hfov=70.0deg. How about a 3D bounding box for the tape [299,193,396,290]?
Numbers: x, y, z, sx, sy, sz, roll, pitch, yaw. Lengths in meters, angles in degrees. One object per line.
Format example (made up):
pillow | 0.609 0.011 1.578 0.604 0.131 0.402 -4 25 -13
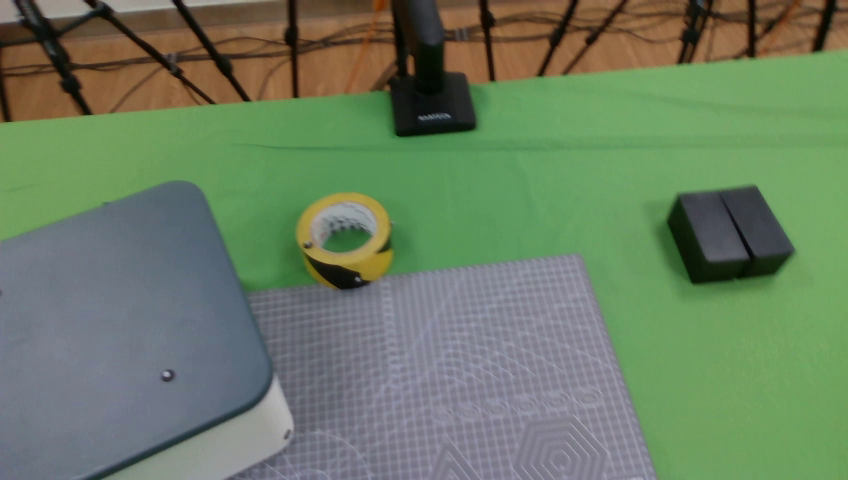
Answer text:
tape | -0.093 0.000 0.735 0.117 0.053 0.115 0 52 1

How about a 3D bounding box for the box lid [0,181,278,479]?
box lid | -0.331 0.096 0.511 0.372 0.015 0.260 -23 58 -15

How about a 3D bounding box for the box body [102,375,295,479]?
box body | -0.331 0.140 0.572 0.364 0.162 0.251 -23 58 -14
